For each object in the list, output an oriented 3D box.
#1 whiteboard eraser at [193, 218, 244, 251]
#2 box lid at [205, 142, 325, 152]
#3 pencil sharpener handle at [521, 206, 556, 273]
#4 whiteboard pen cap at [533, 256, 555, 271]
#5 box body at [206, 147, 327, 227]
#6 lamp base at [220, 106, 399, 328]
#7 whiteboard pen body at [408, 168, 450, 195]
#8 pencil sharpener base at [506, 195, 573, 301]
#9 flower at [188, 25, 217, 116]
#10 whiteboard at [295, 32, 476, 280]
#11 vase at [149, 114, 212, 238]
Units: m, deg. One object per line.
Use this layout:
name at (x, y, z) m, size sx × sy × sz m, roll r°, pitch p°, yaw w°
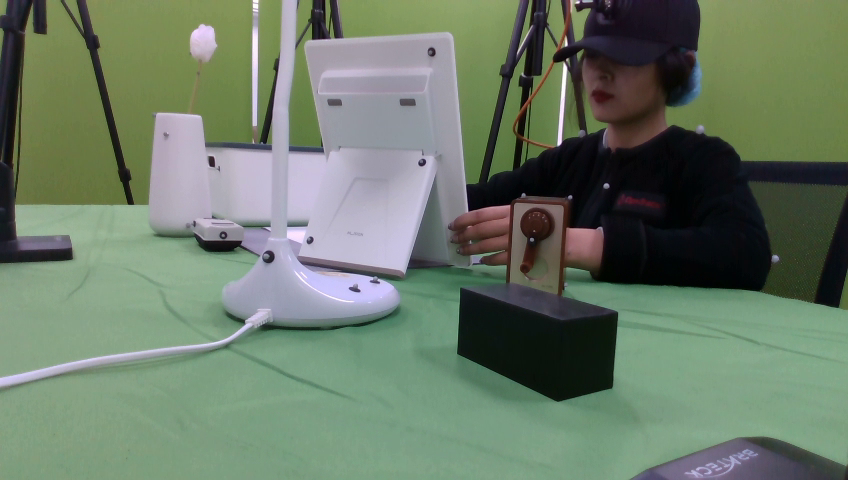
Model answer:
whiteboard eraser at (-0.307, -0.009, 0.900) m, size 0.056 × 0.042 × 0.112 m, roll -3°, pitch 10°, yaw -29°
box lid at (-0.270, -0.196, 1.310) m, size 0.373 × 0.015 × 0.262 m, roll -2°, pitch 9°, yaw -30°
pencil sharpener handle at (0.111, 0.000, 0.612) m, size 0.036 × 0.067 × 0.031 m, roll 13°, pitch 10°, yaw 14°
whiteboard pen cap at (0.166, 0.032, 0.839) m, size 0.018 × 0.018 × 0.033 m, roll -1°, pitch 6°, yaw -23°
box body at (-0.276, -0.122, 1.320) m, size 0.366 × 0.160 × 0.253 m, roll -2°, pitch 9°, yaw -30°
lamp base at (-0.102, -0.023, 0.531) m, size 0.160 × 0.180 × 0.179 m, roll 4°, pitch 10°, yaw 10°
whiteboard pen body at (0.007, -0.083, 0.870) m, size 0.017 × 0.017 × 0.141 m, roll 6°, pitch 20°, yaw 22°
pencil sharpener base at (0.127, 0.007, 0.662) m, size 0.061 × 0.107 × 0.077 m, roll 5°, pitch 8°, yaw 15°
flower at (-0.394, -0.189, 1.011) m, size 0.044 × 0.361 × 0.038 m, roll -1°, pitch -13°, yaw 27°
whiteboard at (-0.076, -0.083, 0.747) m, size 0.216 × 0.305 × 0.144 m, roll 7°, pitch 28°, yaw 29°
vase at (-0.405, -0.106, 1.005) m, size 0.098 × 0.200 × 0.098 m, roll 2°, pitch 6°, yaw 0°
